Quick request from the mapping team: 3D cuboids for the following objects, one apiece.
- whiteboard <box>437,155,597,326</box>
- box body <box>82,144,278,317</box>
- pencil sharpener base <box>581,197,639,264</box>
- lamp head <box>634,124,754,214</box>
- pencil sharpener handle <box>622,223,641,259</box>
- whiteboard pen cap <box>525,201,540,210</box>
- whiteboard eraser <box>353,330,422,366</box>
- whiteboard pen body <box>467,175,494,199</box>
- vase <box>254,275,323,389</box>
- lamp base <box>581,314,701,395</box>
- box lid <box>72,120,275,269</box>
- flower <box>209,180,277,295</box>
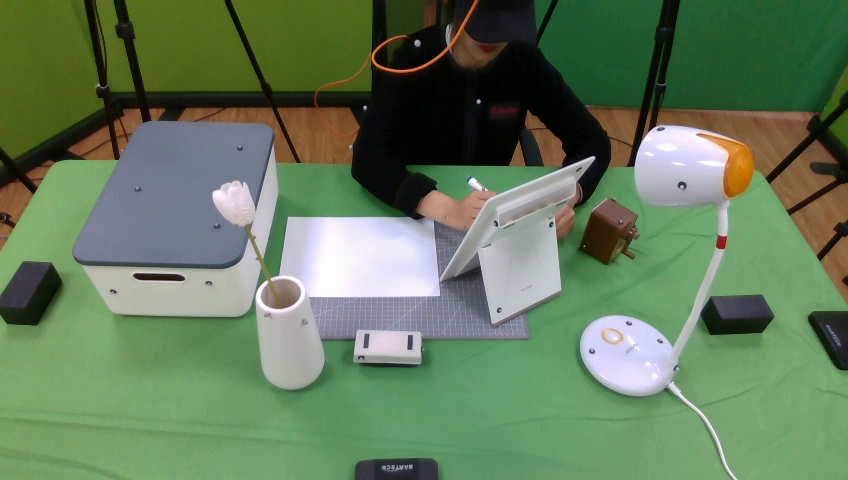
[{"bbox_3d":[0.180,0.024,1.029,0.217,0.306,0.143,-21,70,-23],"label":"whiteboard"},{"bbox_3d":[-0.421,-0.041,1.108,0.254,0.161,0.361,2,46,-3],"label":"box body"},{"bbox_3d":[0.362,-0.017,1.179,0.076,0.107,0.061,37,54,27],"label":"pencil sharpener base"},{"bbox_3d":[0.351,-0.089,0.776,0.112,0.113,0.122,-30,30,-28],"label":"lamp head"},{"bbox_3d":[0.398,0.003,1.146,0.030,0.068,0.036,37,46,27],"label":"pencil sharpener handle"},{"bbox_3d":[0.230,-0.074,1.289,0.033,0.018,0.018,5,46,3],"label":"whiteboard pen cap"},{"bbox_3d":[-0.060,0.180,1.005,0.113,0.042,0.055,2,47,-2],"label":"whiteboard eraser"},{"bbox_3d":[0.131,-0.074,1.126,0.017,0.017,0.140,-33,65,-30],"label":"whiteboard pen body"},{"bbox_3d":[-0.209,0.143,0.921,0.098,0.201,0.097,1,46,-1],"label":"vase"},{"bbox_3d":[0.361,0.145,0.973,0.178,0.181,0.160,34,53,23],"label":"lamp base"},{"bbox_3d":[-0.417,-0.094,1.056,0.263,0.015,0.369,1,47,-3],"label":"box lid"},{"bbox_3d":[-0.217,0.075,0.871,0.044,0.363,0.038,-29,36,-19],"label":"flower"}]
